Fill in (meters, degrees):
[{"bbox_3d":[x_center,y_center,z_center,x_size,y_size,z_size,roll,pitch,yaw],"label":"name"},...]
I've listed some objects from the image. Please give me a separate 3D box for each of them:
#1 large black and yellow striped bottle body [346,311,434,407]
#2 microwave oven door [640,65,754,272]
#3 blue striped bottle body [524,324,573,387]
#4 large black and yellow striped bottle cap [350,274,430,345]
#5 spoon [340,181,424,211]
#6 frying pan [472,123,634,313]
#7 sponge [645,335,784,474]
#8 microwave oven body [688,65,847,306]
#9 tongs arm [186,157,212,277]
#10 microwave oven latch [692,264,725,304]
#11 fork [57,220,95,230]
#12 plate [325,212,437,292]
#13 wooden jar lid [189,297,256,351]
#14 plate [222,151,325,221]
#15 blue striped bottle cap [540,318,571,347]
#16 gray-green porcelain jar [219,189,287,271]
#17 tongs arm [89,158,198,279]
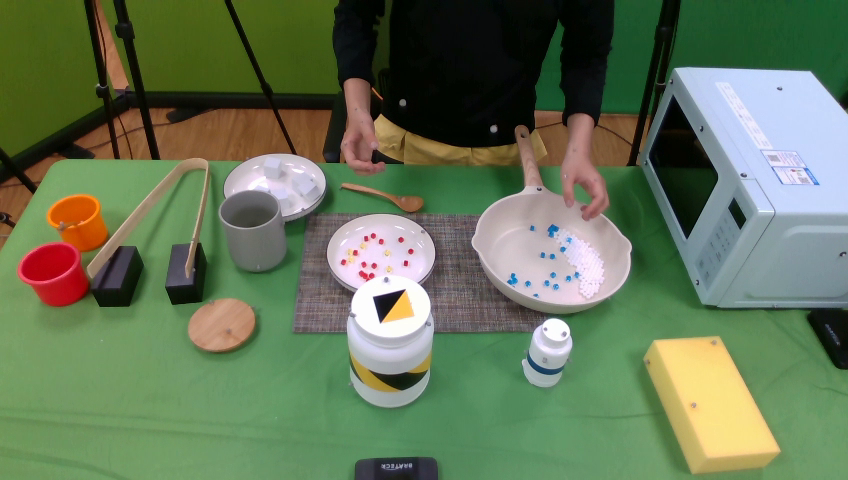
[{"bbox_3d":[-0.052,0.157,0.929,0.131,0.185,0.130,2,47,-2],"label":"large black and yellow striped bottle body"},{"bbox_3d":[0.524,-0.148,1.193,0.039,0.245,0.353,0,47,-3],"label":"microwave oven door"},{"bbox_3d":[0.200,0.178,0.970,0.063,0.121,0.062,2,46,-2],"label":"blue striped bottle body"},{"bbox_3d":[-0.048,0.097,0.868,0.115,0.019,0.114,3,48,-3],"label":"large black and yellow striped bottle cap"},{"bbox_3d":[-0.090,-0.100,1.282,0.193,0.022,0.041,18,65,12],"label":"spoon"},{"bbox_3d":[0.235,-0.060,1.207,0.307,0.103,0.484,2,54,-6],"label":"frying pan"},{"bbox_3d":[0.449,0.253,0.956,0.118,0.061,0.205,-4,46,-7],"label":"sponge"},{"bbox_3d":[0.669,-0.111,1.176,0.326,0.261,0.439,0,46,-3],"label":"microwave oven body"},{"bbox_3d":[-0.445,-0.058,1.168,0.051,0.026,0.382,-5,37,-6],"label":"tongs arm"},{"bbox_3d":[0.522,0.081,1.116,0.030,0.029,0.078,1,46,-2],"label":"microwave oven latch"},{"bbox_3d":[-0.624,-0.027,1.086,0.028,0.207,0.018,-3,92,-17],"label":"fork"},{"bbox_3d":[-0.080,0.030,1.143,0.209,0.038,0.208,3,46,-2],"label":"plate"},{"bbox_3d":[-0.342,0.145,1.033,0.108,0.021,0.107,2,45,-2],"label":"wooden jar lid"},{"bbox_3d":[-0.310,-0.106,1.263,0.208,0.039,0.206,2,46,-2],"label":"plate"},{"bbox_3d":[0.203,0.142,0.933,0.044,0.021,0.044,3,49,-4],"label":"blue striped bottle cap"},{"bbox_3d":[-0.310,-0.014,1.113,0.106,0.127,0.105,2,46,-2],"label":"gray-green porcelain jar"},{"bbox_3d":[-0.529,-0.057,1.164,0.028,0.028,0.385,1,36,8],"label":"tongs arm"}]
